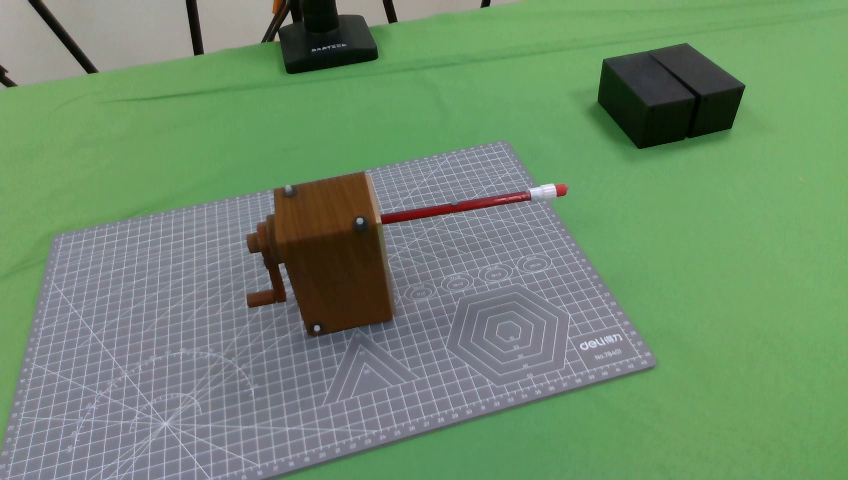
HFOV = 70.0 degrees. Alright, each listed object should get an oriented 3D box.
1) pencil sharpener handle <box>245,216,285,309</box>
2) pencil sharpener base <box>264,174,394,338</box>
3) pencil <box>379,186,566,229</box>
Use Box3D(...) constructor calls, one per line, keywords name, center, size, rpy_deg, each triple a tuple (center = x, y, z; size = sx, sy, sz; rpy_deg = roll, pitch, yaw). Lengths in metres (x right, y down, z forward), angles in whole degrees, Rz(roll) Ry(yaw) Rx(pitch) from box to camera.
Box3D(name="pencil sharpener handle", center=(-0.118, 0.018, 0.430), size=(0.031, 0.068, 0.035), rpy_deg=(-12, 25, -6))
Box3D(name="pencil sharpener base", center=(-0.068, 0.014, 0.449), size=(0.077, 0.108, 0.060), rpy_deg=(-12, 44, -6))
Box3D(name="pencil", center=(0.011, -0.019, 0.441), size=(0.194, 0.012, 0.012), rpy_deg=(-10, 44, -7))
